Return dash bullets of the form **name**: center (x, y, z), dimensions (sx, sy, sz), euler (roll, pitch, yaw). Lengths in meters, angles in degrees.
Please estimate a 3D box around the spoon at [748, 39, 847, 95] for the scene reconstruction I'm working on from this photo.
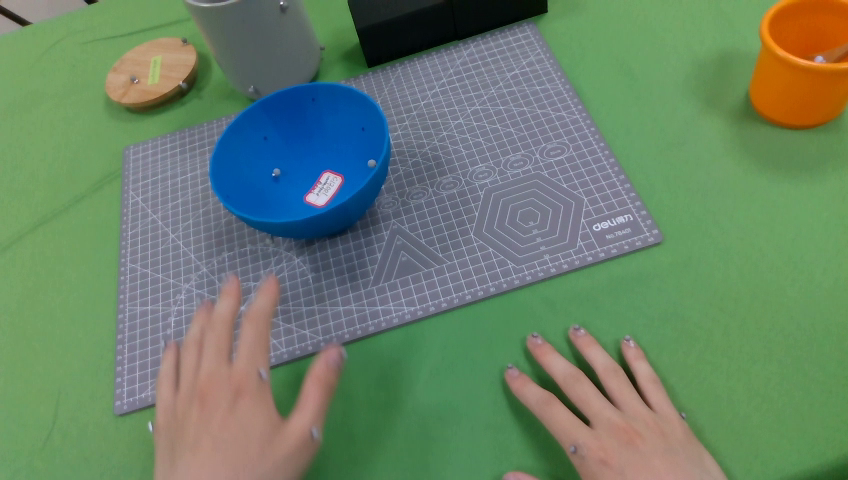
- **spoon**: center (0.343, -0.155, 0.457), dimensions (0.022, 0.193, 0.041), euler (37, 62, -18)

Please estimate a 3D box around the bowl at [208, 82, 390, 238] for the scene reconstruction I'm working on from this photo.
- **bowl**: center (-0.096, -0.055, 0.518), dimensions (0.151, 0.077, 0.150), euler (-5, 56, 8)

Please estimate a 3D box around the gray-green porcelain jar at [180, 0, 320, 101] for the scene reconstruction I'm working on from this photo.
- **gray-green porcelain jar**: center (-0.169, -0.214, 0.612), dimensions (0.106, 0.128, 0.105), euler (-5, 56, 8)

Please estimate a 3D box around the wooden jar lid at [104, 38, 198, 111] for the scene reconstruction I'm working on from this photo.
- **wooden jar lid**: center (-0.305, -0.186, 0.685), dimensions (0.108, 0.021, 0.107), euler (-4, 57, 6)
